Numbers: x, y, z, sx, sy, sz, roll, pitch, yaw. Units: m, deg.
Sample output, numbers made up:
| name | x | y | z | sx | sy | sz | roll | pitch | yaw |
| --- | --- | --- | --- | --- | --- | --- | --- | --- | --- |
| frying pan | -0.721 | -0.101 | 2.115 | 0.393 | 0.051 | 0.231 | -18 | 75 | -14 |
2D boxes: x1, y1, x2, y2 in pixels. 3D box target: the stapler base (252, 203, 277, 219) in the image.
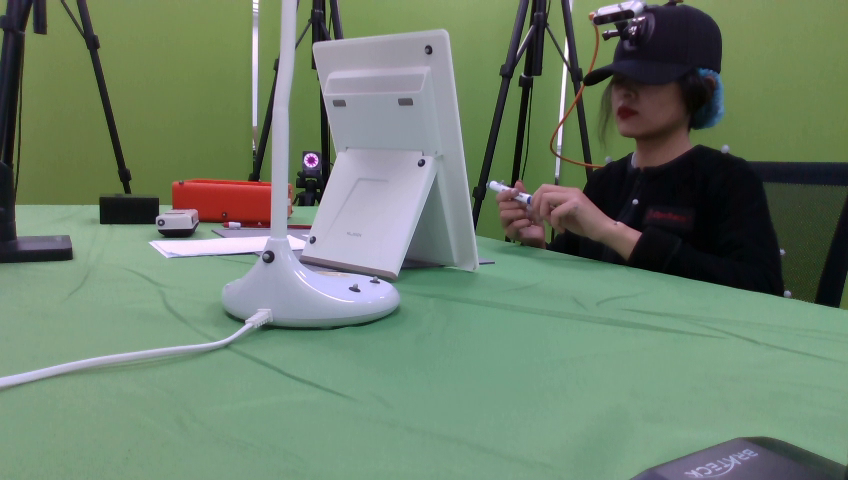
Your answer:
| name | x | y | z | sx | sy | sz | roll | pitch | yaw |
| --- | --- | --- | --- | --- | --- | --- | --- | --- | --- |
| stapler base | -0.341 | -0.065 | 1.301 | 0.041 | 0.024 | 0.130 | 15 | 5 | -10 |

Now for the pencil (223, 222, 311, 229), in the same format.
| name | x | y | z | sx | sy | sz | roll | pitch | yaw |
| --- | --- | --- | --- | --- | --- | --- | --- | --- | --- |
| pencil | -0.274 | -0.025 | 1.132 | 0.195 | 0.012 | 0.012 | 1 | 8 | -25 |

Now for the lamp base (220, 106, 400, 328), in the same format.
| name | x | y | z | sx | sy | sz | roll | pitch | yaw |
| --- | --- | --- | --- | --- | --- | --- | --- | --- | --- |
| lamp base | -0.101 | -0.023 | 0.531 | 0.160 | 0.180 | 0.179 | 4 | 10 | 10 |

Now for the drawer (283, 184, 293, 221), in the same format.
| name | x | y | z | sx | sy | sz | roll | pitch | yaw |
| --- | --- | --- | --- | --- | --- | --- | --- | --- | --- |
| drawer | -0.396 | -0.084 | 1.301 | 0.212 | 0.073 | 0.194 | 1 | 8 | -7 |

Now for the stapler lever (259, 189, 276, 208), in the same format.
| name | x | y | z | sx | sy | sz | roll | pitch | yaw |
| --- | --- | --- | --- | --- | --- | --- | --- | --- | --- |
| stapler lever | -0.335 | -0.090 | 1.300 | 0.027 | 0.040 | 0.118 | 15 | 4 | -10 |

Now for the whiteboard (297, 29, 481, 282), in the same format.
| name | x | y | z | sx | sy | sz | roll | pitch | yaw |
| --- | --- | --- | --- | --- | --- | --- | --- | --- | --- |
| whiteboard | -0.076 | -0.082 | 0.741 | 0.216 | 0.305 | 0.144 | 9 | 29 | 37 |

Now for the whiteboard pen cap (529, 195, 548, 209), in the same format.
| name | x | y | z | sx | sy | sz | roll | pitch | yaw |
| --- | --- | --- | --- | --- | --- | --- | --- | --- | --- |
| whiteboard pen cap | 0.185 | -0.062 | 0.987 | 0.018 | 0.018 | 0.033 | -4 | 22 | -39 |

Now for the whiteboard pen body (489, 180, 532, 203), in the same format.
| name | x | y | z | sx | sy | sz | roll | pitch | yaw |
| --- | --- | --- | --- | --- | --- | --- | --- | --- | --- |
| whiteboard pen body | 0.157 | -0.080 | 1.035 | 0.017 | 0.017 | 0.140 | -2 | 19 | -30 |

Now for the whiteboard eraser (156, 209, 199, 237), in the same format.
| name | x | y | z | sx | sy | sz | roll | pitch | yaw |
| --- | --- | --- | --- | --- | --- | --- | --- | --- | --- |
| whiteboard eraser | -0.411 | -0.029 | 1.016 | 0.056 | 0.042 | 0.112 | 2 | 7 | -16 |

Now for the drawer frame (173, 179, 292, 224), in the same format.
| name | x | y | z | sx | sy | sz | roll | pitch | yaw |
| --- | --- | --- | --- | --- | --- | --- | --- | --- | --- |
| drawer frame | -0.400 | -0.086 | 1.300 | 0.214 | 0.082 | 0.201 | 1 | 8 | -8 |
